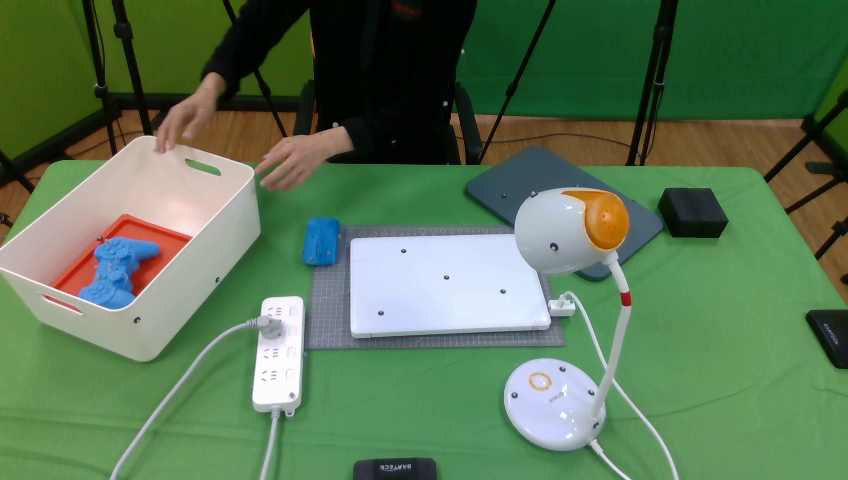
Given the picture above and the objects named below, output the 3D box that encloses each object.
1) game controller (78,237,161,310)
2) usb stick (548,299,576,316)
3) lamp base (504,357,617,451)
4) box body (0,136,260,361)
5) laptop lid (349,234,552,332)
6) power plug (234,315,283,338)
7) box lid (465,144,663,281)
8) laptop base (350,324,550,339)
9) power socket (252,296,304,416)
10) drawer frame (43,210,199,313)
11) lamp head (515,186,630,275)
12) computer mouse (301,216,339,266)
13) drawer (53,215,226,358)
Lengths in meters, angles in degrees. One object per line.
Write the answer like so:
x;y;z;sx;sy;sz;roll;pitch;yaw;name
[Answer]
-0.496;0.055;0.986;0.097;0.052;0.154;-4;47;-3;game controller
0.239;0.121;1.083;0.059;0.027;0.021;-1;50;-2;usb stick
0.220;0.211;0.903;0.160;0.181;0.178;-33;59;-30;lamp base
-0.483;0.006;1.056;0.254;0.161;0.362;17;47;12;box body
0.040;0.071;1.118;0.357;0.013;0.240;0;44;-5;laptop lid
-0.270;0.143;1.000;0.072;0.053;0.035;5;47;2;power plug
0.297;-0.072;1.298;0.263;0.015;0.369;-33;56;-31;box lid
0.039;0.081;1.124;0.355;0.023;0.234;-2;43;-6;laptop base
-0.238;0.182;0.997;0.072;0.033;0.225;-3;47;-5;power socket
-0.488;0.067;1.042;0.201;0.083;0.212;15;53;13;drawer frame
0.188;-0.013;0.728;0.112;0.112;0.122;-25;9;-25;lamp head
-0.200;-0.002;1.169;0.063;0.041;0.116;3;50;-3;computer mouse
-0.490;0.077;1.059;0.194;0.073;0.211;17;58;10;drawer
